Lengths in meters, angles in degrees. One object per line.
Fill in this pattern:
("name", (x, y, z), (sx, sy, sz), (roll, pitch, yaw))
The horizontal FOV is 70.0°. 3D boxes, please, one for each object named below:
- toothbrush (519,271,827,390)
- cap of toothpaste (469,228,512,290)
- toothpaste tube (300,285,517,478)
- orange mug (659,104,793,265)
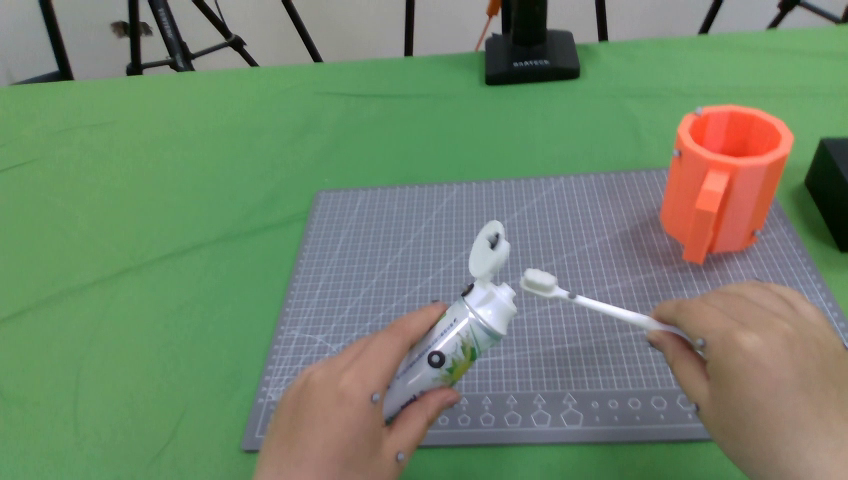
("toothbrush", (0.145, 0.053, 0.365), (0.181, 0.017, 0.014), (19, 48, 15))
("cap of toothpaste", (0.039, 0.011, 0.343), (0.011, 0.037, 0.037), (22, 41, -16))
("toothpaste tube", (-0.005, 0.087, 0.365), (0.165, 0.055, 0.034), (-48, 43, 9))
("orange mug", (0.244, -0.041, 0.505), (0.083, 0.102, 0.126), (18, 45, 26))
